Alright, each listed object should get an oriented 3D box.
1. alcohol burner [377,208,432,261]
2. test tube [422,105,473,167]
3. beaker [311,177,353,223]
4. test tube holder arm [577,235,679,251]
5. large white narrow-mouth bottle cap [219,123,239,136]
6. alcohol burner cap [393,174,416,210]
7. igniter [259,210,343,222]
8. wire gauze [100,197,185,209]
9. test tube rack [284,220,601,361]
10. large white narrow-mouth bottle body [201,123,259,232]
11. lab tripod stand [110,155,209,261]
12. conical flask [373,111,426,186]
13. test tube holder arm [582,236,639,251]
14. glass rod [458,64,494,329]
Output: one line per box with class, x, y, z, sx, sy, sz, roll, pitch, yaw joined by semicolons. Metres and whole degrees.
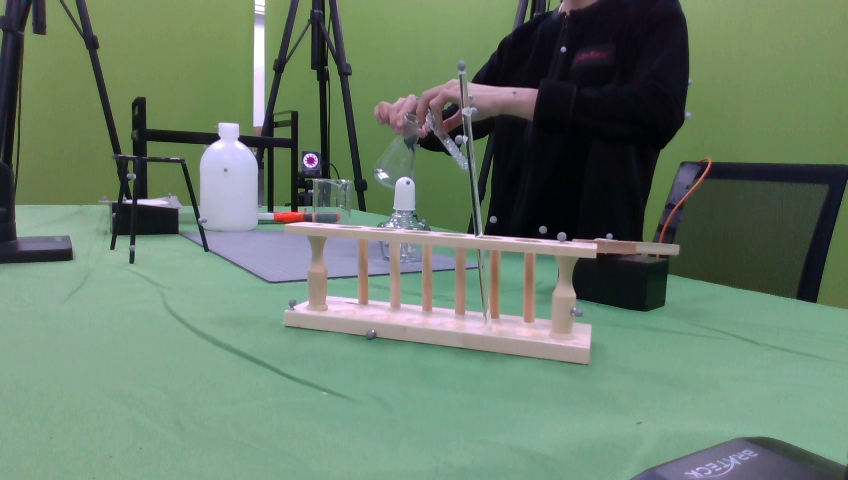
alcohol burner;-0.027;-0.031;0.838;0.078;0.119;0.078;0;6;0
test tube;0.033;-0.155;0.893;0.017;0.017;0.149;-3;43;-32
beaker;-0.167;-0.064;1.106;0.074;0.100;0.083;-2;9;-27
test tube holder arm;0.227;0.004;0.661;0.179;0.015;0.013;1;13;-39
large white narrow-mouth bottle cap;-0.356;-0.201;1.104;0.038;0.024;0.037;2;8;0
alcohol burner cap;-0.025;-0.067;0.833;0.034;0.048;0.034;4;12;-1
igniter;-0.303;-0.049;1.258;0.278;0.025;0.057;-2;-2;-28
wire gauze;-0.469;-0.062;1.008;0.126;0.011;0.121;-2;8;-25
test tube rack;0.013;0.032;0.482;0.242;0.085;0.067;4;7;16
large white narrow-mouth bottle body;-0.358;-0.116;1.116;0.102;0.194;0.102;2;8;0
lab tripod stand;-0.361;-0.046;0.806;0.148;0.131;0.148;2;5;0
conical flask;-0.034;-0.156;1.023;0.075;0.121;0.075;18;32;-11
test tube holder arm;0.194;0.004;0.629;0.088;0.015;0.010;2;13;-38
glass rod;0.039;-0.029;0.449;0.008;0.199;0.008;-7;9;1
